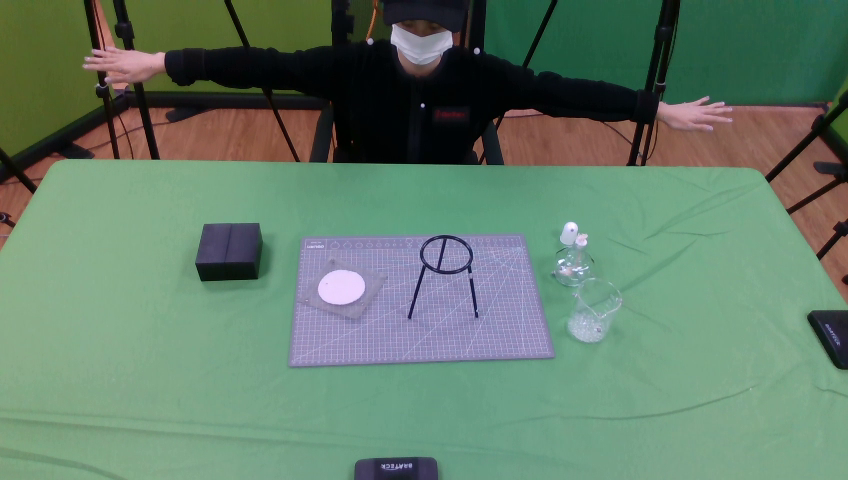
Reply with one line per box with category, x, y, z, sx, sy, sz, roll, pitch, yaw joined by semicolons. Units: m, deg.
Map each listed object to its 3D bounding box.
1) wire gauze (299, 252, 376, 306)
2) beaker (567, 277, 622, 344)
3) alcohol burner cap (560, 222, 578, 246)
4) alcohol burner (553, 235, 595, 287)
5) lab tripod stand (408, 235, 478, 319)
wire gauze;-0.155;0.069;1.104;0.125;0.011;0.120;0;48;4
beaker;0.291;0.127;1.045;0.074;0.101;0.083;7;47;4
alcohol burner cap;0.295;-0.015;1.223;0.034;0.048;0.033;2;47;-2
alcohol burner;0.282;0.032;1.127;0.078;0.120;0.077;1;48;-1
lab tripod stand;0.032;0.065;1.057;0.148;0.132;0.147;1;45;-1
